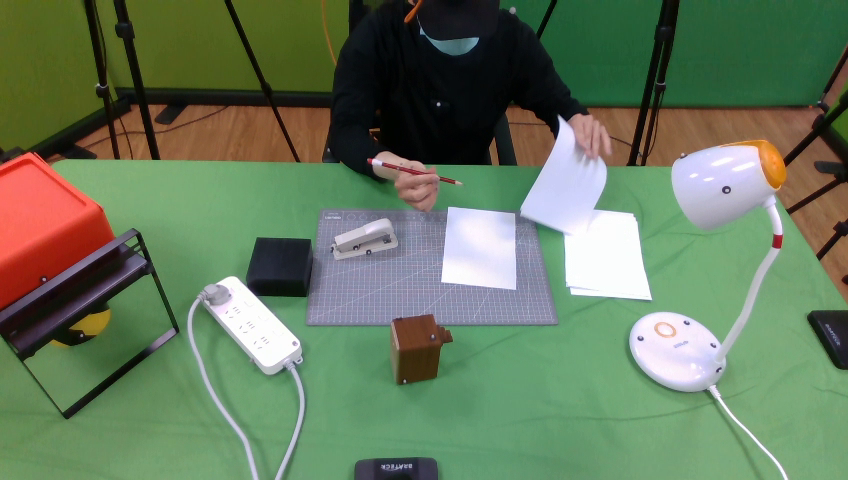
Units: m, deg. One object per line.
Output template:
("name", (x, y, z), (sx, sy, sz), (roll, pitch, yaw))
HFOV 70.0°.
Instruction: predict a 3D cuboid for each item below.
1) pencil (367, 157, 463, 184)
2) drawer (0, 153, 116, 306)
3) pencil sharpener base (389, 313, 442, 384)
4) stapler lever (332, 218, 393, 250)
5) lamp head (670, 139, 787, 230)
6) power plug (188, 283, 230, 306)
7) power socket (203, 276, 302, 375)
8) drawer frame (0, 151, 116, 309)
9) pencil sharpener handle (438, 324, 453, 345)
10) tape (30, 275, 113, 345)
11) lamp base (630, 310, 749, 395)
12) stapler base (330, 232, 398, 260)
("pencil", (-0.017, -0.128, 1.130), (0.193, 0.012, 0.012), (16, 47, 14))
("drawer", (-0.601, -0.015, 0.880), (0.193, 0.073, 0.211), (32, 53, 23))
("pencil sharpener base", (-0.013, 0.175, 0.971), (0.077, 0.107, 0.061), (-8, 47, -11))
("stapler lever", (-0.116, -0.012, 1.162), (0.118, 0.040, 0.026), (-13, 47, -14))
("lamp head", (0.415, -0.079, 0.812), (0.113, 0.123, 0.112), (12, 70, -37))
("power plug", (-0.368, 0.099, 1.037), (0.072, 0.053, 0.035), (-24, 52, -26))
("power socket", (-0.297, 0.141, 1.034), (0.072, 0.033, 0.225), (-34, 58, -30))
("drawer frame", (-0.604, -0.013, 0.876), (0.201, 0.083, 0.213), (31, 52, 23))
("pencil sharpener handle", (0.036, 0.155, 0.976), (0.031, 0.068, 0.036), (-8, 69, -11))
("tape", (-0.593, 0.117, 1.021), (0.117, 0.053, 0.116), (2, 46, -2))
("lamp base", (0.447, 0.142, 0.984), (0.161, 0.181, 0.178), (-24, 55, -24))
("stapler base", (-0.116, 0.004, 1.181), (0.131, 0.024, 0.041), (-13, 47, -14))
